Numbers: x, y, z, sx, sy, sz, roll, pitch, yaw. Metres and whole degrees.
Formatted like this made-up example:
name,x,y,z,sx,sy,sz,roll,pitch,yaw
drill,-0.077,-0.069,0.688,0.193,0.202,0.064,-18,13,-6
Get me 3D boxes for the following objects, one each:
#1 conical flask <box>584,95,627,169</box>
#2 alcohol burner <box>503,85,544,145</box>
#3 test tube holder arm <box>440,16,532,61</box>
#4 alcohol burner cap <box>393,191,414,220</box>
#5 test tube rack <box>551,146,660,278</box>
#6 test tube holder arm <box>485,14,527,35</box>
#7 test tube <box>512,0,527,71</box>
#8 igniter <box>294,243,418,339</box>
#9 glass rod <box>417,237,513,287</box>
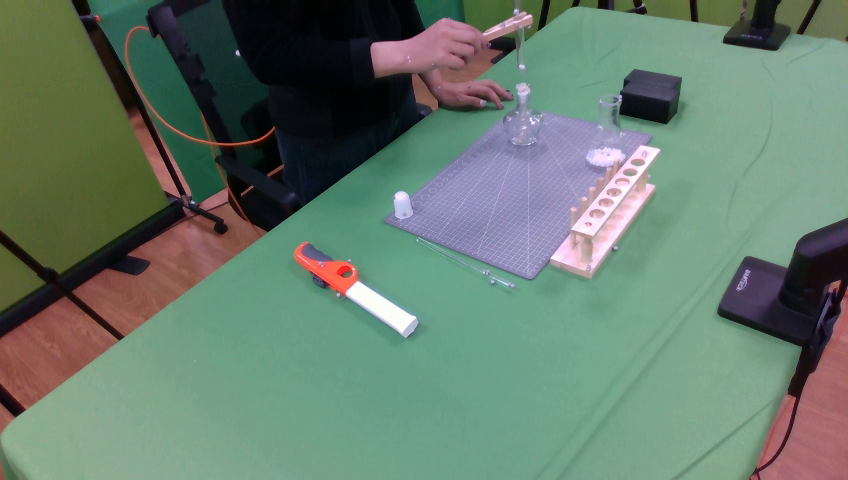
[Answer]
name,x,y,z,sx,sy,sz,roll,pitch,yaw
conical flask,0.324,-0.192,1.066,0.075,0.122,0.075,-6,40,5
alcohol burner,0.191,-0.243,1.160,0.078,0.119,0.077,-4,40,4
test tube holder arm,0.105,-0.338,1.013,0.179,0.015,0.013,-27,41,-15
alcohol burner cap,-0.037,-0.062,1.045,0.034,0.048,0.033,-5,41,5
test tube rack,0.286,-0.053,0.944,0.066,0.085,0.243,21,49,32
test tube holder arm,0.140,-0.362,1.030,0.088,0.015,0.010,-32,43,-20
test tube,0.165,-0.361,1.044,0.017,0.151,0.017,-7,44,8
igniter,-0.114,0.070,0.919,0.274,0.025,0.057,29,63,37
glass rod,0.059,0.033,0.945,0.198,0.008,0.008,26,52,38
